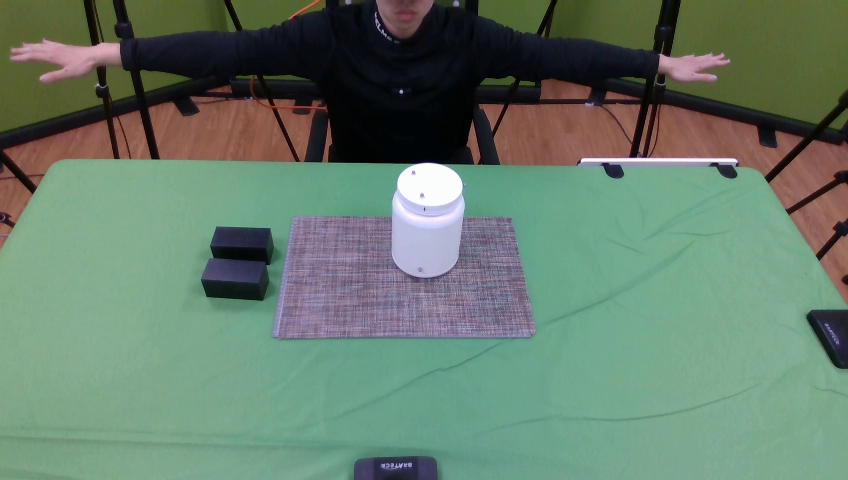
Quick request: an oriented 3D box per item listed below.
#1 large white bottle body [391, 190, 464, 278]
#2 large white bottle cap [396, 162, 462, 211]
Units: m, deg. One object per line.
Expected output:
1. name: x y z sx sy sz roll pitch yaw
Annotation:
1. large white bottle body: 0.005 -0.034 1.114 0.131 0.185 0.130 2 46 -2
2. large white bottle cap: 0.009 -0.094 1.053 0.115 0.018 0.114 2 46 -2
